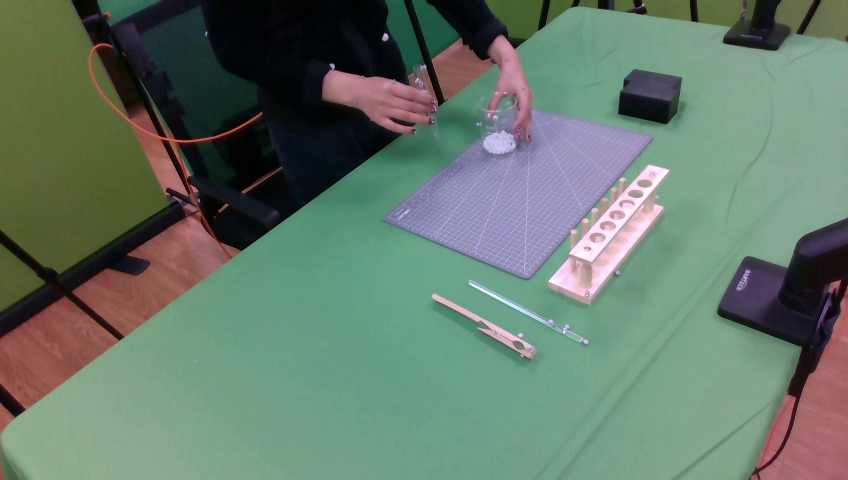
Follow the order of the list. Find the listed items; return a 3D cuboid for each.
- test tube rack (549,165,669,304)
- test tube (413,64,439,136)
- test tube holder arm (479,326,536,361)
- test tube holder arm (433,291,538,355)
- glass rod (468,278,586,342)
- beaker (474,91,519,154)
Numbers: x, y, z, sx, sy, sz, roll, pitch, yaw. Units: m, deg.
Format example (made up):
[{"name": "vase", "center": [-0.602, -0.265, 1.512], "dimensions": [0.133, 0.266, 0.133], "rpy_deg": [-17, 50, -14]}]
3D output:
[{"name": "test tube rack", "center": [0.279, -0.018, 0.902], "dimensions": [0.066, 0.085, 0.243], "rpy_deg": [24, 50, 33]}, {"name": "test tube", "center": [0.005, -0.243, 1.064], "dimensions": [0.017, 0.151, 0.017], "rpy_deg": [-9, 48, 10]}, {"name": "test tube holder arm", "center": [0.110, 0.134, 0.805], "dimensions": [0.087, 0.015, 0.010], "rpy_deg": [29, 83, 36]}, {"name": "test tube holder arm", "center": [0.081, 0.112, 0.832], "dimensions": [0.177, 0.015, 0.013], "rpy_deg": [29, 82, 36]}, {"name": "glass rod", "center": [0.140, 0.096, 0.853], "dimensions": [0.198, 0.008, 0.008], "rpy_deg": [27, 53, 35]}, {"name": "beaker", "center": [0.139, -0.221, 1.151], "dimensions": [0.083, 0.101, 0.074], "rpy_deg": [6, 43, 19]}]
